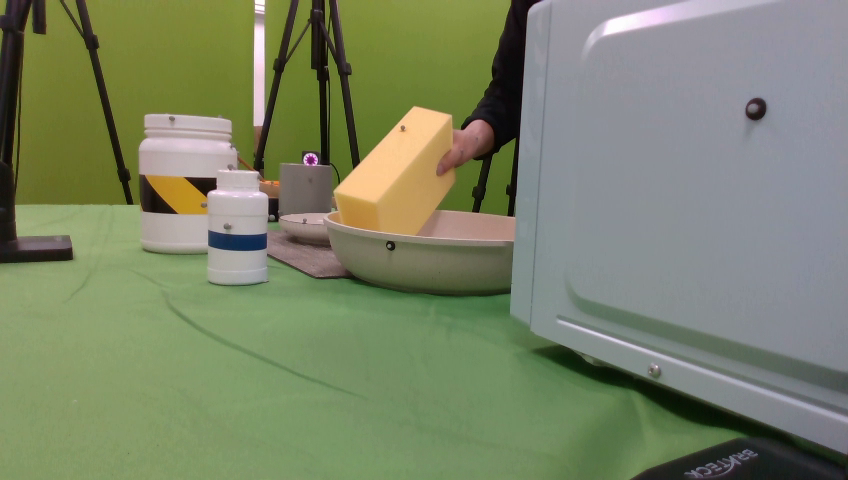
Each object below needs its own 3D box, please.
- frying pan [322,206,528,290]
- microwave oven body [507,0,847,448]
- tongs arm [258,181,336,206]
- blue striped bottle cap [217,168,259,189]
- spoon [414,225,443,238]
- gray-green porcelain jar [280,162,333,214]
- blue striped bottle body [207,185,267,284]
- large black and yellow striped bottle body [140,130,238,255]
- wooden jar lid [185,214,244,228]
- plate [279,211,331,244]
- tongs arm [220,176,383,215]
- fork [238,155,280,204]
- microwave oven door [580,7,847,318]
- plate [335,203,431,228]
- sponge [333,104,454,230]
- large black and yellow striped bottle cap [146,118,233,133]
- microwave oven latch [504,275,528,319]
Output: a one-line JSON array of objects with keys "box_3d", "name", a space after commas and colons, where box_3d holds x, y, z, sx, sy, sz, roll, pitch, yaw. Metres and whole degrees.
[{"box_3d": [0.109, -0.017, 0.800, 0.490, 0.102, 0.305, -12, 16, -30], "name": "frying pan"}, {"box_3d": [0.331, -0.042, 0.425, 0.444, 0.260, 0.324, -2, 8, -31], "name": "microwave oven body"}, {"box_3d": [-0.241, -0.095, 1.373, 0.387, 0.026, 0.050, 9, 0, -37], "name": "tongs arm"}, {"box_3d": [-0.202, -0.067, 0.657, 0.044, 0.020, 0.044, 0, 11, 0], "name": "blue striped bottle cap"}, {"box_3d": [0.016, -0.020, 1.113, 0.041, 0.021, 0.194, -14, 3, 12], "name": "spoon"}, {"box_3d": [-0.238, -0.092, 1.221, 0.106, 0.126, 0.106, 2, 7, 0], "name": "gray-green porcelain jar"}, {"box_3d": [-0.204, -0.016, 0.663, 0.063, 0.120, 0.063, 2, 7, 0], "name": "blue striped bottle body"}, {"box_3d": [-0.336, -0.078, 0.872, 0.131, 0.184, 0.130, 2, 8, 0], "name": "large black and yellow striped bottle body"}, {"box_3d": [-0.404, -0.037, 1.169, 0.108, 0.020, 0.108, 3, 7, 0], "name": "wooden jar lid"}, {"box_3d": [-0.139, -0.022, 1.021, 0.209, 0.038, 0.209, 3, 8, 0], "name": "plate"}, {"box_3d": [-0.285, -0.104, 1.445, 0.389, 0.027, 0.028, 9, -4, -23], "name": "tongs arm"}, {"box_3d": [-0.396, -0.143, 1.487, 0.028, 0.018, 0.208, 19, -27, 44], "name": "fork"}, {"box_3d": [0.295, -0.067, 0.570, 0.358, 0.243, 0.039, -3, 8, -31], "name": "microwave oven door"}, {"box_3d": [-0.089, -0.054, 1.309, 0.208, 0.039, 0.207, 2, 8, 0], "name": "plate"}, {"box_3d": [-0.031, -0.076, 0.801, 0.060, 0.118, 0.207, 17, 48, 22], "name": "sponge"}, {"box_3d": [-0.333, -0.163, 0.861, 0.115, 0.019, 0.115, 1, 9, 0], "name": "large black and yellow striped bottle cap"}, {"box_3d": [0.100, 0.042, 0.471, 0.079, 0.029, 0.030, -1, 7, -28], "name": "microwave oven latch"}]
